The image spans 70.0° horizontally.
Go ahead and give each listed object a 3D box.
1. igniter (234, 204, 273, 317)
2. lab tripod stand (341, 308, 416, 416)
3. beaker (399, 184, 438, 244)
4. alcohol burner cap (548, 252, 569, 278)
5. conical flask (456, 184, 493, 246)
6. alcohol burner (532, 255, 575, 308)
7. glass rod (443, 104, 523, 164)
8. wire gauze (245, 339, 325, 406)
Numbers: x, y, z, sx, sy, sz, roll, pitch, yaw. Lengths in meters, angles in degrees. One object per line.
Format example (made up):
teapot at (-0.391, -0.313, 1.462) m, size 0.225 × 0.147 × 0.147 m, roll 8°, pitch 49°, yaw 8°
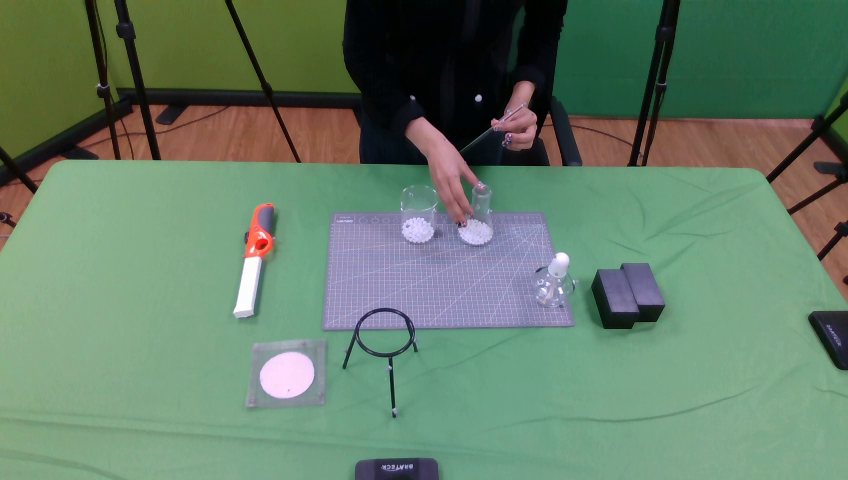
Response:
igniter at (-0.320, 0.029, 1.143) m, size 0.057 × 0.025 × 0.274 m, roll -8°, pitch 46°, yaw 4°
lab tripod stand at (-0.061, 0.177, 0.946) m, size 0.148 × 0.132 × 0.147 m, roll 2°, pitch 44°, yaw -2°
beaker at (-0.014, -0.046, 1.186) m, size 0.073 × 0.101 × 0.084 m, roll 36°, pitch 54°, yaw 27°
alcohol burner cap at (0.238, 0.042, 1.060) m, size 0.034 × 0.048 × 0.033 m, roll 1°, pitch 54°, yaw -1°
conical flask at (0.105, -0.052, 1.185) m, size 0.075 × 0.122 × 0.075 m, roll 3°, pitch 46°, yaw -3°
alcohol burner at (0.235, 0.066, 1.087) m, size 0.078 × 0.119 × 0.077 m, roll 4°, pitch 45°, yaw -3°
glass rod at (0.113, -0.207, 1.197) m, size 0.200 × 0.008 × 0.008 m, roll -34°, pitch 40°, yaw 26°
wire gauze at (-0.224, 0.215, 0.984) m, size 0.125 × 0.011 × 0.120 m, roll -2°, pitch 46°, yaw -5°
